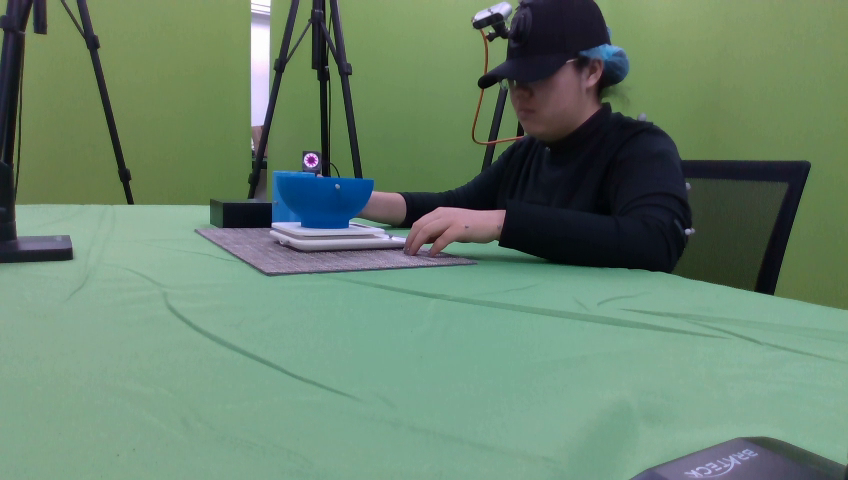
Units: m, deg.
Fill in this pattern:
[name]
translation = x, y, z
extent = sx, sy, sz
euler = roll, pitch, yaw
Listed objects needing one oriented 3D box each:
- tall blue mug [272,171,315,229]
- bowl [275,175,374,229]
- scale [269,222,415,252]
[tall blue mug]
translation = -0.236, -0.073, 1.127
extent = 0.077, 0.108, 0.107
euler = 4, 7, 15
[bowl]
translation = -0.152, -0.059, 0.933
extent = 0.151, 0.077, 0.151
euler = 2, 7, 0
[scale]
translation = -0.130, -0.008, 0.958
extent = 0.202, 0.031, 0.148
euler = -1, 9, -32
